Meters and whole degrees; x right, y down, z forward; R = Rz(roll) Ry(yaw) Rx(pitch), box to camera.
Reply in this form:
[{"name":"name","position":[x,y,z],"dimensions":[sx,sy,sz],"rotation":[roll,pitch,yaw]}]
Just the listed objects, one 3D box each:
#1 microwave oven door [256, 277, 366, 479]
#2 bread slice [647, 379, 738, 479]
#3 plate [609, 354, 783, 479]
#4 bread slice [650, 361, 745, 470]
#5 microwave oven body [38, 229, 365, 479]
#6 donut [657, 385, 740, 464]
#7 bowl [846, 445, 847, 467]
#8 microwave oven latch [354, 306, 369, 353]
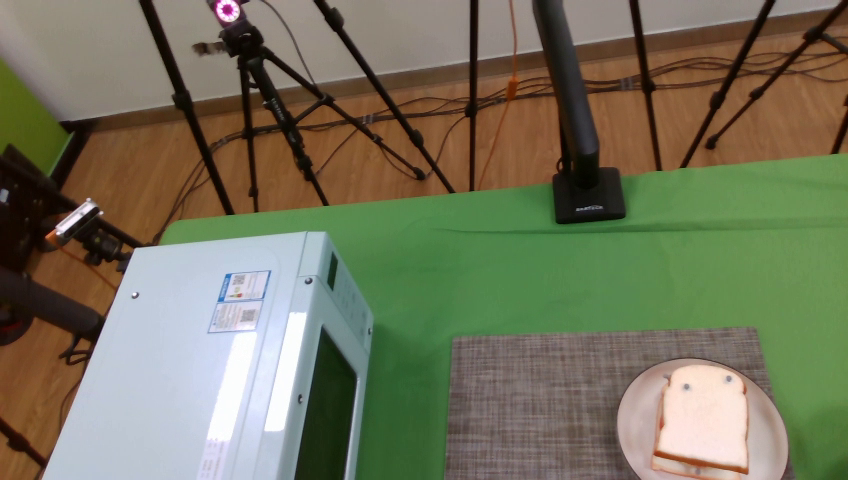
[{"name":"microwave oven door","position":[-0.141,0.259,0.779],"dimensions":[0.039,0.246,0.352],"rotation":[-6,52,12]},{"name":"bread slice","position":[0.352,0.245,0.802],"dimensions":[0.106,0.018,0.133],"rotation":[4,54,17]},{"name":"plate","position":[0.352,0.251,0.798],"dimensions":[0.207,0.039,0.205],"rotation":[-7,52,10]},{"name":"bread slice","position":[0.343,0.212,0.757],"dimensions":[0.104,0.019,0.130],"rotation":[3,53,25]},{"name":"microwave oven body","position":[-0.281,0.243,0.836],"dimensions":[0.325,0.263,0.437],"rotation":[-5,53,11]},{"name":"donut","position":[0.348,0.235,0.773],"dimensions":[0.099,0.049,0.098],"rotation":[-5,57,8]},{"name":"bowl","position":[0.566,0.275,0.700],"dimensions":[0.151,0.077,0.150],"rotation":[-7,52,10]},{"name":"microwave oven latch","position":[-0.106,0.145,0.987],"dimensions":[0.030,0.030,0.078],"rotation":[-5,53,11]}]
